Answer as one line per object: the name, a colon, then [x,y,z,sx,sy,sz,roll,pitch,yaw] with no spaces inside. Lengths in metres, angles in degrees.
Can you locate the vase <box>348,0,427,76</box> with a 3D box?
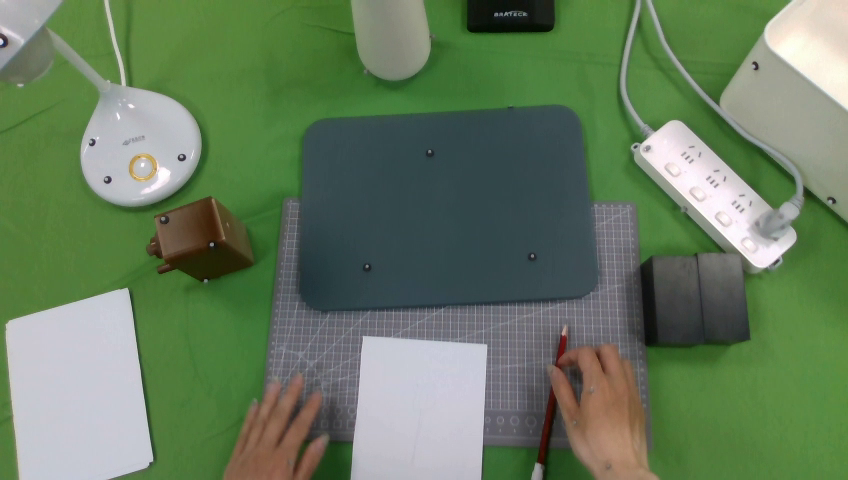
vase: [-0.047,-0.290,0.743,0.098,0.201,0.097,0,73,2]

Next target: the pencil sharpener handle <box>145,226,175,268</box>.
pencil sharpener handle: [-0.310,0.012,0.705,0.030,0.068,0.035,-20,61,-2]

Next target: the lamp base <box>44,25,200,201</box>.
lamp base: [-0.387,-0.159,0.731,0.160,0.181,0.178,-29,72,-6]

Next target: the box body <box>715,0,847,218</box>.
box body: [0.565,-0.159,0.698,0.254,0.161,0.362,-42,77,-9]

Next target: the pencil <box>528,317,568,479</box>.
pencil: [0.145,0.182,0.697,0.012,0.012,0.193,14,77,7]

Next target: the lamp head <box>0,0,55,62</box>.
lamp head: [-0.360,-0.195,0.453,0.112,0.124,0.111,-28,38,25]

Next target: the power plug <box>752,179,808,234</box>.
power plug: [0.421,-0.034,0.713,0.072,0.053,0.035,-27,72,-9]

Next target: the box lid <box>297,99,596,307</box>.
box lid: [0.025,-0.052,0.770,0.371,0.015,0.261,-3,74,2]

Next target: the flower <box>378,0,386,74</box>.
flower: [-0.042,-0.326,0.667,0.044,0.364,0.038,-23,62,-20]

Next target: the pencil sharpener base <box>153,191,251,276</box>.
pencil sharpener base: [-0.262,-0.004,0.720,0.077,0.107,0.061,-19,74,-2]

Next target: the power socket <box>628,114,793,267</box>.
power socket: [0.352,-0.063,0.748,0.072,0.033,0.225,-38,76,-8]
